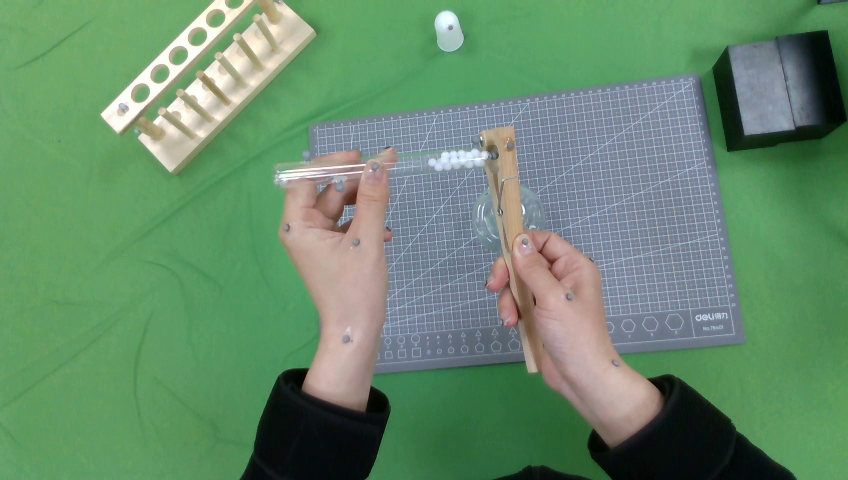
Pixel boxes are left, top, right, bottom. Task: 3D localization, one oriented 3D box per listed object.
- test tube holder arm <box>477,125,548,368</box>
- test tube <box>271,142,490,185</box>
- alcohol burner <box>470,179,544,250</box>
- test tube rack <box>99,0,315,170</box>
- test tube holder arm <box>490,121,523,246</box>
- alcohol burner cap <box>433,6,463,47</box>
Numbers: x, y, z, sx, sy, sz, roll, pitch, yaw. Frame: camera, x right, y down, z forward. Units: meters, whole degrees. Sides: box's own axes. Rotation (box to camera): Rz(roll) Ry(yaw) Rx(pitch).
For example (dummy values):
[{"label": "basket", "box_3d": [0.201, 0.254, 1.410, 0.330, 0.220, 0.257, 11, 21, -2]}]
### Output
[{"label": "test tube holder arm", "box_3d": [0.065, 0.004, 0.439, 0.015, 0.013, 0.178, -13, 93, -25]}, {"label": "test tube", "box_3d": [-0.024, -0.051, 0.397, 0.151, 0.017, 0.017, -9, 78, -22]}, {"label": "alcohol burner", "box_3d": [0.084, -0.031, 0.619, 0.078, 0.120, 0.077, -2, 78, 9]}, {"label": "test tube rack", "box_3d": [-0.245, -0.199, 0.703, 0.066, 0.085, 0.242, 44, 88, 12]}, {"label": "test tube holder arm", "box_3d": [0.059, -0.039, 0.429, 0.015, 0.010, 0.088, -13, 105, -26]}, {"label": "alcohol burner cap", "box_3d": [0.027, -0.250, 0.700, 0.034, 0.048, 0.033, -2, 75, 9]}]
